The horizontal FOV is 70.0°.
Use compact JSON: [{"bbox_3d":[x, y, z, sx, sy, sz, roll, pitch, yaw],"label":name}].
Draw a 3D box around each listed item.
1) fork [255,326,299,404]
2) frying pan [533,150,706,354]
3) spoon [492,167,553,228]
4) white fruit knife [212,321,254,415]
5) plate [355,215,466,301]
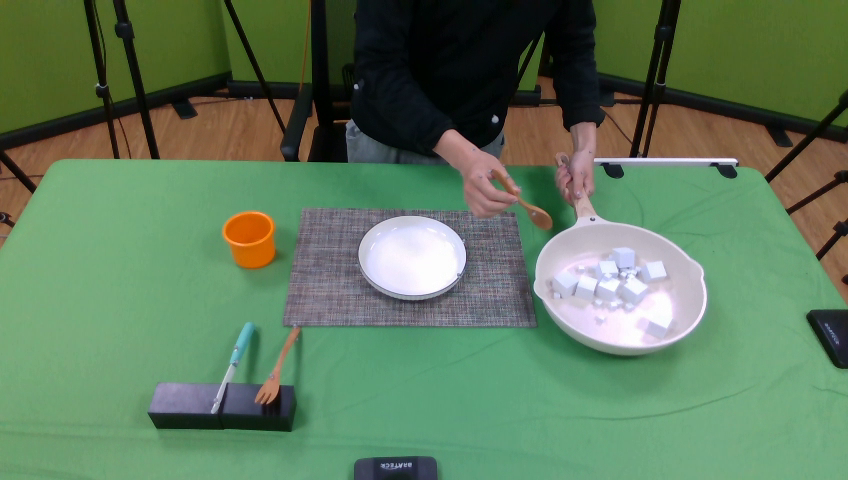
[{"bbox_3d":[-0.226,0.192,0.955,0.028,0.019,0.206,0,27,4],"label":"fork"},{"bbox_3d":[0.329,0.004,1.150,0.307,0.103,0.484,-6,54,-5],"label":"frying pan"},{"bbox_3d":[0.163,-0.068,1.003,0.041,0.195,0.021,7,72,40],"label":"spoon"},{"bbox_3d":[-0.298,0.193,0.947,0.016,0.027,0.206,1,31,0],"label":"white fruit knife"},{"bbox_3d":[-0.025,0.038,1.143,0.208,0.039,0.206,3,46,-2],"label":"plate"}]
